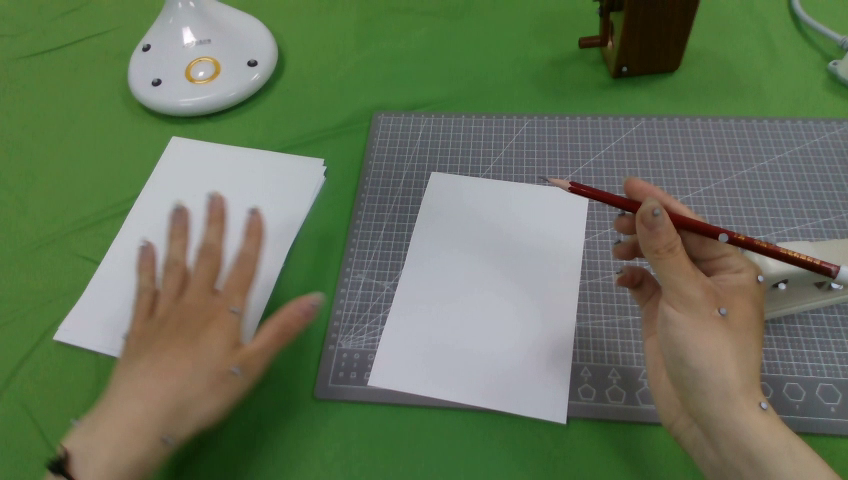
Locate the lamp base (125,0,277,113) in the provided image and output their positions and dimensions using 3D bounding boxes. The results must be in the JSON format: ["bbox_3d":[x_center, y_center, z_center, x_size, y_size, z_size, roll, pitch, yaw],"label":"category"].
[{"bbox_3d":[-0.249,-0.247,0.594,0.161,0.182,0.177,-24,54,-11],"label":"lamp base"}]

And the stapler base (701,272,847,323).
[{"bbox_3d":[0.277,0.029,0.453,0.131,0.024,0.041,-11,56,-5],"label":"stapler base"}]

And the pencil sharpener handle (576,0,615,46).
[{"bbox_3d":[0.159,-0.217,0.569,0.030,0.068,0.035,-7,33,1],"label":"pencil sharpener handle"}]

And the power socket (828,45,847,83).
[{"bbox_3d":[0.483,-0.124,0.539,0.072,0.033,0.224,-32,58,-17],"label":"power socket"}]

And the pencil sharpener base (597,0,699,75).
[{"bbox_3d":[0.211,-0.220,0.583,0.077,0.108,0.061,-7,55,1],"label":"pencil sharpener base"}]

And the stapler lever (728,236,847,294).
[{"bbox_3d":[0.277,0.014,0.433,0.118,0.040,0.026,-11,56,-4],"label":"stapler lever"}]

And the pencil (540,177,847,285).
[{"bbox_3d":[0.156,-0.007,0.341,0.193,0.012,0.012,21,60,21],"label":"pencil"}]
